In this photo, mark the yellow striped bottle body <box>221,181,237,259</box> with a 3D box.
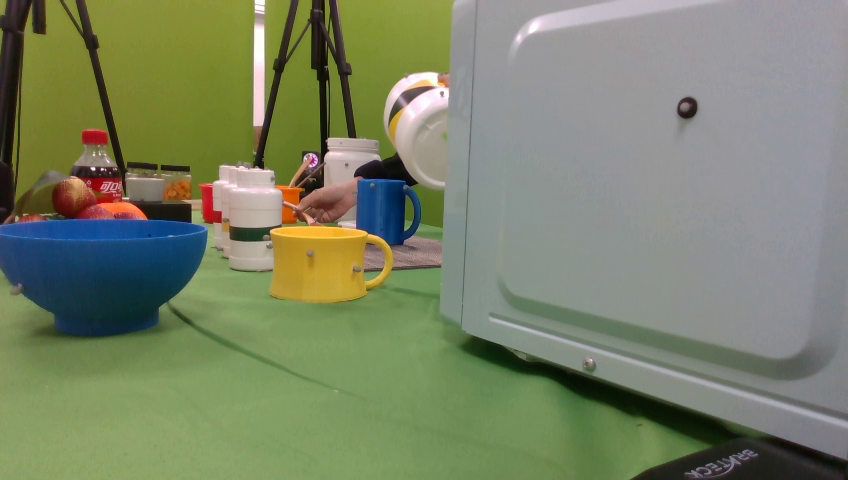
[{"bbox_3d":[-0.244,-0.035,0.823,0.063,0.120,0.063,2,8,0],"label":"yellow striped bottle body"}]

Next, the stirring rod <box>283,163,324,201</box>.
[{"bbox_3d":[-0.278,-0.105,1.293,0.176,0.006,0.014,-47,24,-18],"label":"stirring rod"}]

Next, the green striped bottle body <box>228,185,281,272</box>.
[{"bbox_3d":[-0.208,-0.023,0.745,0.063,0.119,0.063,2,7,0],"label":"green striped bottle body"}]

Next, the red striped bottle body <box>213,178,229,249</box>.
[{"bbox_3d":[-0.284,-0.047,0.907,0.063,0.119,0.063,2,7,0],"label":"red striped bottle body"}]

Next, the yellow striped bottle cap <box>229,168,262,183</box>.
[{"bbox_3d":[-0.240,-0.087,0.816,0.044,0.018,0.044,-2,5,1],"label":"yellow striped bottle cap"}]

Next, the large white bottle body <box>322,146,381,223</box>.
[{"bbox_3d":[-0.163,-0.134,1.369,0.131,0.184,0.130,2,8,0],"label":"large white bottle body"}]

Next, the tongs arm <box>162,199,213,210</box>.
[{"bbox_3d":[-0.504,-0.091,1.513,0.028,0.028,0.389,0,4,37],"label":"tongs arm"}]

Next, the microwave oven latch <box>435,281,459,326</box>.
[{"bbox_3d":[0.044,0.046,0.470,0.079,0.029,0.030,-3,8,-40],"label":"microwave oven latch"}]

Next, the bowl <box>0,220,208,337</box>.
[{"bbox_3d":[-0.251,0.029,0.479,0.151,0.077,0.151,2,7,0],"label":"bowl"}]

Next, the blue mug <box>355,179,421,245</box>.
[{"bbox_3d":[-0.058,-0.047,1.005,0.116,0.106,0.082,6,9,23],"label":"blue mug"}]

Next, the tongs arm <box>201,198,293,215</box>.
[{"bbox_3d":[-0.423,-0.084,1.472,0.050,0.026,0.386,2,6,21],"label":"tongs arm"}]

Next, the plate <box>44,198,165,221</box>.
[{"bbox_3d":[-0.617,-0.056,1.179,0.209,0.038,0.209,3,7,0],"label":"plate"}]

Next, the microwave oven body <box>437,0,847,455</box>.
[{"bbox_3d":[0.279,-0.040,0.464,0.444,0.260,0.324,-3,8,-41],"label":"microwave oven body"}]

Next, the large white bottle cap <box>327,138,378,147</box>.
[{"bbox_3d":[-0.160,-0.218,1.357,0.115,0.018,0.115,2,8,0],"label":"large white bottle cap"}]

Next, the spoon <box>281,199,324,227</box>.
[{"bbox_3d":[-0.232,-0.048,1.140,0.042,0.021,0.192,-5,28,-43],"label":"spoon"}]

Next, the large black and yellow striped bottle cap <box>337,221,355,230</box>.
[{"bbox_3d":[-0.107,-0.023,1.148,0.115,0.019,0.115,1,8,0],"label":"large black and yellow striped bottle cap"}]

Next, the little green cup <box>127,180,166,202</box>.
[{"bbox_3d":[-0.486,-0.086,1.062,0.061,0.038,0.061,0,7,0],"label":"little green cup"}]

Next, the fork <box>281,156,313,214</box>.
[{"bbox_3d":[-0.289,-0.116,1.320,0.028,0.019,0.207,-2,48,27],"label":"fork"}]

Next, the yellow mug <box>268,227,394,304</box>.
[{"bbox_3d":[-0.094,0.023,0.629,0.131,0.064,0.099,0,7,-22],"label":"yellow mug"}]

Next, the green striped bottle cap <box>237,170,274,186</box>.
[{"bbox_3d":[-0.205,-0.075,0.737,0.044,0.020,0.044,1,5,0],"label":"green striped bottle cap"}]

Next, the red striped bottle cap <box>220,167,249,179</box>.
[{"bbox_3d":[-0.281,-0.100,0.901,0.044,0.017,0.044,-1,5,0],"label":"red striped bottle cap"}]

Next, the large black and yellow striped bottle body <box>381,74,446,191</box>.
[{"bbox_3d":[0.011,-0.163,0.871,0.131,0.130,0.183,0,28,-16],"label":"large black and yellow striped bottle body"}]

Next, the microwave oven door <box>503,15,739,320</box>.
[{"bbox_3d":[0.218,-0.065,0.600,0.358,0.243,0.039,-4,10,-41],"label":"microwave oven door"}]
